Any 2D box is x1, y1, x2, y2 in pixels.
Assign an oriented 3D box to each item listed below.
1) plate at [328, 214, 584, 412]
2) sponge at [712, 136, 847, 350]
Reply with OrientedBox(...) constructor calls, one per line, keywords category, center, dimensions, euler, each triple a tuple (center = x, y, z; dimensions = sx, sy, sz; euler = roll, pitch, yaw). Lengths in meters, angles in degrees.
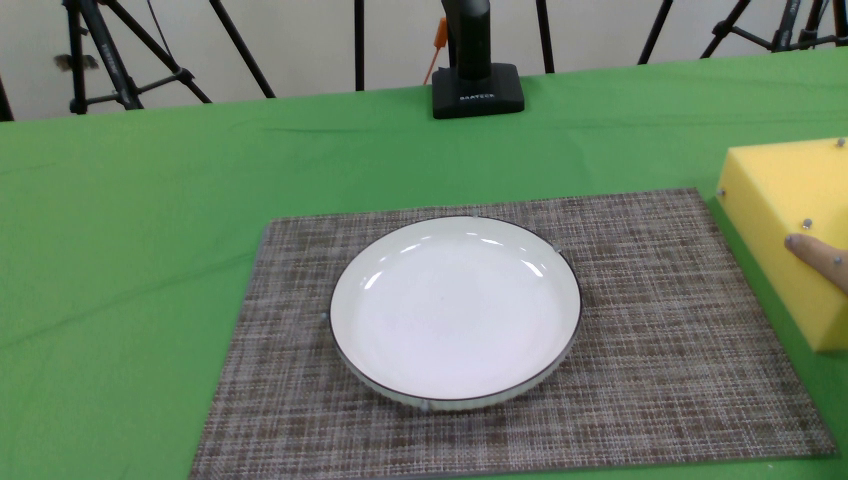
OrientedBox(category="plate", center=(0.026, 0.058, 0.507), dimensions=(0.207, 0.039, 0.205), euler=(-4, 41, 4))
OrientedBox(category="sponge", center=(0.354, -0.007, 0.525), dimensions=(0.118, 0.061, 0.204), euler=(-6, 41, 1))
